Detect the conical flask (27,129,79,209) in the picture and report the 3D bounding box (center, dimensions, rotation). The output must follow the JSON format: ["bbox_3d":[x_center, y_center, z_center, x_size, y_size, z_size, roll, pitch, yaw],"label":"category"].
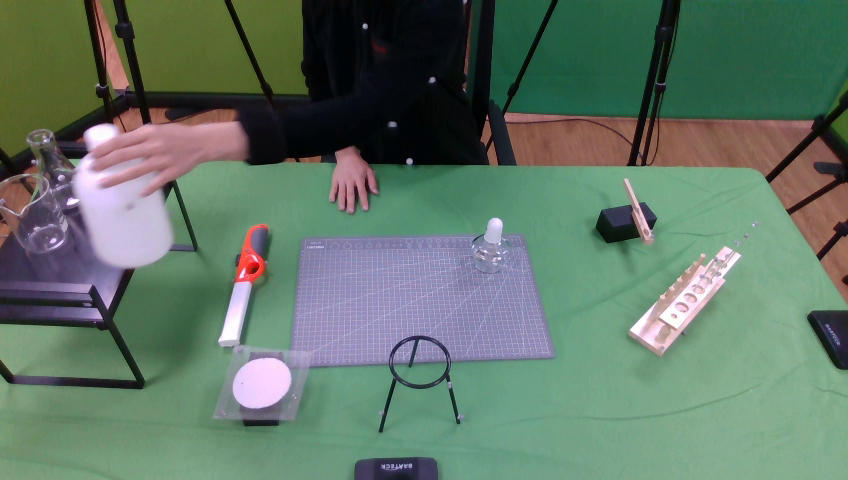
[{"bbox_3d":[-0.575,-0.113,0.946,0.075,0.122,0.075,2,46,-1],"label":"conical flask"}]

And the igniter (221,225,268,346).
[{"bbox_3d":[-0.323,0.072,1.100,0.057,0.025,0.274,-6,45,5],"label":"igniter"}]

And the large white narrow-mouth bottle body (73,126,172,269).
[{"bbox_3d":[-0.406,-0.060,0.810,0.102,0.195,0.101,4,40,-3],"label":"large white narrow-mouth bottle body"}]

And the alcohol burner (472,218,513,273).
[{"bbox_3d":[0.128,0.005,1.132,0.078,0.120,0.077,0,47,0],"label":"alcohol burner"}]

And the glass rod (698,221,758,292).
[{"bbox_3d":[0.527,0.035,1.060,0.008,0.200,0.008,5,49,-6],"label":"glass rod"}]

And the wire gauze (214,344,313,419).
[{"bbox_3d":[-0.241,0.213,0.915,0.121,0.011,0.124,5,46,1],"label":"wire gauze"}]

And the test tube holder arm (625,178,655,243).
[{"bbox_3d":[0.433,-0.062,1.220,0.013,0.015,0.177,2,47,-3],"label":"test tube holder arm"}]

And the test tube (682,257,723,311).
[{"bbox_3d":[0.475,0.080,1.037,0.017,0.151,0.017,1,51,-1],"label":"test tube"}]

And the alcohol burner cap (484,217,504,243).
[{"bbox_3d":[0.130,-0.021,1.107,0.034,0.048,0.033,4,41,-4],"label":"alcohol burner cap"}]

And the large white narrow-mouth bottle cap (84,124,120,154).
[{"bbox_3d":[-0.400,-0.125,0.755,0.038,0.024,0.037,4,40,-3],"label":"large white narrow-mouth bottle cap"}]

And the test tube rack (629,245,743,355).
[{"bbox_3d":[0.474,0.095,1.091,0.242,0.085,0.066,-34,56,-31],"label":"test tube rack"}]

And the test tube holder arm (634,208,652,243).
[{"bbox_3d":[0.428,-0.030,1.189,0.010,0.015,0.087,2,47,-3],"label":"test tube holder arm"}]

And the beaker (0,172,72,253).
[{"bbox_3d":[-0.569,-0.035,0.886,0.074,0.101,0.083,-12,49,-15],"label":"beaker"}]

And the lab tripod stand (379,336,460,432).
[{"bbox_3d":[-0.010,0.214,0.911,0.148,0.132,0.147,1,45,0],"label":"lab tripod stand"}]
